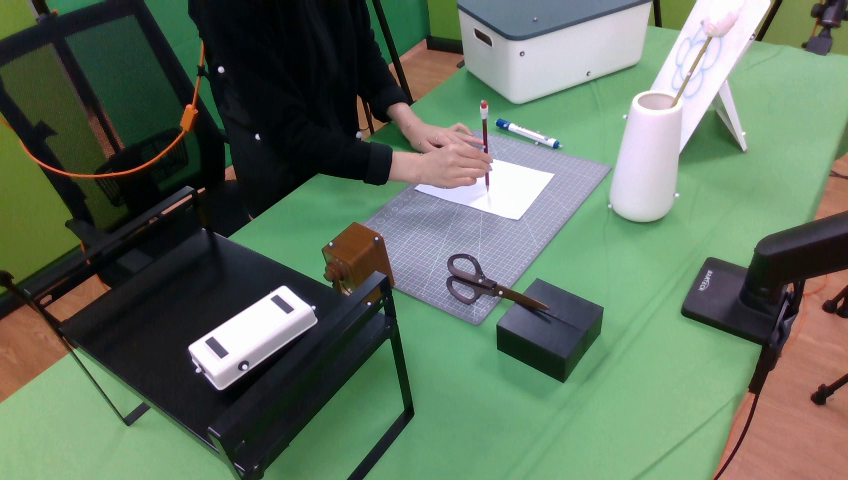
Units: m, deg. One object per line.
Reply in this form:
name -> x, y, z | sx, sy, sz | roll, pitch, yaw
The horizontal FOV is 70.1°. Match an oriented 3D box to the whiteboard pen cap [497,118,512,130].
whiteboard pen cap -> 0.165, -0.235, 1.227 | 0.033, 0.018, 0.018 | 31, 53, 31

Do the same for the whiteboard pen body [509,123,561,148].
whiteboard pen body -> 0.208, -0.211, 1.196 | 0.139, 0.017, 0.017 | 30, 52, 33

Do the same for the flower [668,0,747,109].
flower -> 0.354, -0.187, 0.879 | 0.038, 0.362, 0.044 | 30, 48, 14

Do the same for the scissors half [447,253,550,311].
scissors half -> 0.098, 0.058, 0.821 | 0.173, 0.040, 0.013 | 27, 33, 36

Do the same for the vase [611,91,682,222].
vase -> 0.348, -0.125, 0.935 | 0.098, 0.201, 0.097 | -3, 40, 3

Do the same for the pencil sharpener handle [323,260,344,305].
pencil sharpener handle -> -0.131, 0.062, 0.839 | 0.035, 0.068, 0.031 | 29, 55, 27

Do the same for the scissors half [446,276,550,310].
scissors half -> 0.098, 0.077, 0.827 | 0.174, 0.040, 0.013 | 6, 14, 44

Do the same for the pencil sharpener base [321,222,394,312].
pencil sharpener base -> -0.096, 0.041, 0.873 | 0.061, 0.107, 0.077 | 25, 54, 32

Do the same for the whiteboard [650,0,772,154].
whiteboard -> 0.543, -0.298, 1.076 | 0.144, 0.305, 0.216 | 12, 40, -7

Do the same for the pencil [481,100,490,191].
pencil -> 0.103, -0.149, 0.996 | 0.012, 0.195, 0.012 | -4, 49, 5

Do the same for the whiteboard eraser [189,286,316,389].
whiteboard eraser -> -0.166, 0.096, 0.593 | 0.113, 0.042, 0.055 | -36, 47, -29

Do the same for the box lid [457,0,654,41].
box lid -> 0.285, -0.522, 1.323 | 0.373, 0.015, 0.261 | -22, 43, -16

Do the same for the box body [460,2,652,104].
box body -> 0.291, -0.465, 1.371 | 0.365, 0.161, 0.252 | -22, 42, -16
